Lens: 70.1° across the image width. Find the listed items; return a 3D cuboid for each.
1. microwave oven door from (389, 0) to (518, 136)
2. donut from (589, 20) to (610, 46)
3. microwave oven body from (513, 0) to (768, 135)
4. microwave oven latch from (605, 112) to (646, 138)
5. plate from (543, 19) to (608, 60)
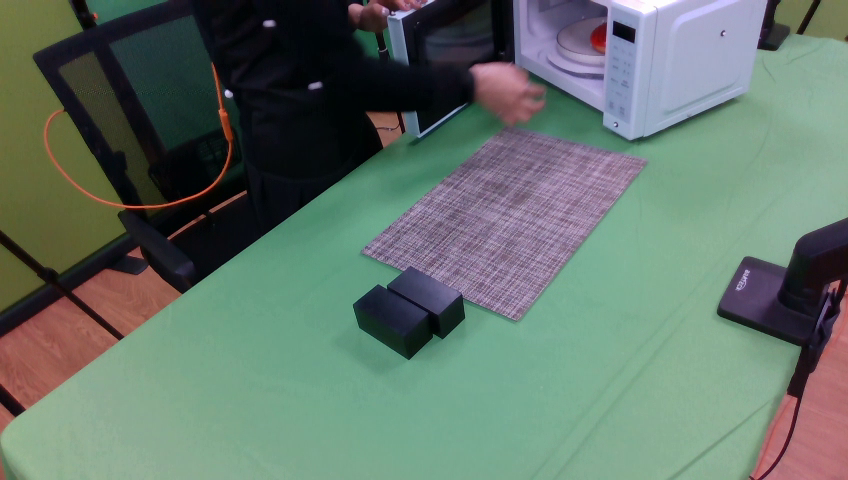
[{"bbox_3d":[0.075,-0.405,1.249,0.039,0.245,0.357,24,51,34],"label":"microwave oven door"},{"bbox_3d":[0.405,-0.431,1.298,0.099,0.048,0.098,-2,60,4],"label":"donut"},{"bbox_3d":[0.410,-0.441,1.235,0.327,0.261,0.437,-25,42,-16],"label":"microwave oven body"},{"bbox_3d":[0.375,-0.217,1.130,0.030,0.029,0.078,-24,42,-16],"label":"microwave oven latch"},{"bbox_3d":[0.359,-0.427,1.293,0.209,0.038,0.208,-1,34,1],"label":"plate"}]
